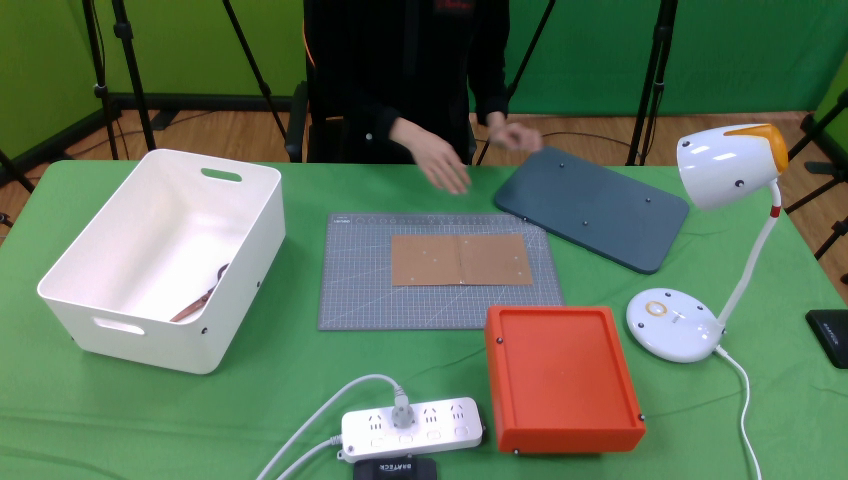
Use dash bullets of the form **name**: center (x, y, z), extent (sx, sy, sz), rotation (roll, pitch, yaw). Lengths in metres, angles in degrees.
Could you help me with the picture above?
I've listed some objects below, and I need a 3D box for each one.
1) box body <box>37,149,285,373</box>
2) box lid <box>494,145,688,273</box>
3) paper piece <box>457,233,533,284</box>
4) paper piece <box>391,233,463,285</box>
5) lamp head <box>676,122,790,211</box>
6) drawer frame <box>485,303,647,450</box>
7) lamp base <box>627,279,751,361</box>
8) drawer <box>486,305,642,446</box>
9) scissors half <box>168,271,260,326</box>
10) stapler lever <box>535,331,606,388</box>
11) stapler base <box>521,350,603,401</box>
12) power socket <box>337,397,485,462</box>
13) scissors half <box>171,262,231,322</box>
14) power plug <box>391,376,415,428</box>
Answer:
- **box body**: center (-0.414, 0.029, 1.040), extent (0.254, 0.161, 0.362), rotation (10, 46, 5)
- **box lid**: center (0.360, -0.081, 1.311), extent (0.370, 0.015, 0.263), rotation (27, 49, 20)
- **paper piece**: center (0.136, 0.035, 1.182), extent (0.136, 0.009, 0.137), rotation (3, 45, -7)
- **paper piece**: center (0.004, 0.035, 1.170), extent (0.135, 0.004, 0.135), rotation (1, 46, -4)
- **lamp head**: center (0.423, -0.104, 0.819), extent (0.122, 0.113, 0.112), rotation (-13, 33, 40)
- **drawer frame**: center (0.204, 0.202, 0.917), extent (0.202, 0.083, 0.212), rotation (1, 47, -4)
- **lamp base**: center (0.460, 0.100, 1.027), extent (0.178, 0.181, 0.160), rotation (27, 51, 17)
- **drawer**: center (0.202, 0.200, 0.919), extent (0.195, 0.073, 0.210), rotation (2, 47, -4)
- **scissors half**: center (-0.369, 0.105, 1.071), extent (0.175, 0.013, 0.040), rotation (-29, 68, -28)
- **stapler lever**: center (0.225, 0.181, 0.929), extent (0.118, 0.040, 0.027), rotation (27, 34, 15)
- **stapler base**: center (0.217, 0.203, 0.942), extent (0.130, 0.024, 0.041), rotation (26, 33, 16)
- **power socket**: center (-0.018, 0.285, 0.915), extent (0.227, 0.033, 0.071), rotation (-4, 46, -8)
- **scissors half**: center (-0.383, 0.092, 1.076), extent (0.040, 0.013, 0.175), rotation (32, 54, 15)
- **power plug**: center (-0.031, 0.249, 0.917), extent (0.035, 0.053, 0.072), rotation (3, 46, -1)
